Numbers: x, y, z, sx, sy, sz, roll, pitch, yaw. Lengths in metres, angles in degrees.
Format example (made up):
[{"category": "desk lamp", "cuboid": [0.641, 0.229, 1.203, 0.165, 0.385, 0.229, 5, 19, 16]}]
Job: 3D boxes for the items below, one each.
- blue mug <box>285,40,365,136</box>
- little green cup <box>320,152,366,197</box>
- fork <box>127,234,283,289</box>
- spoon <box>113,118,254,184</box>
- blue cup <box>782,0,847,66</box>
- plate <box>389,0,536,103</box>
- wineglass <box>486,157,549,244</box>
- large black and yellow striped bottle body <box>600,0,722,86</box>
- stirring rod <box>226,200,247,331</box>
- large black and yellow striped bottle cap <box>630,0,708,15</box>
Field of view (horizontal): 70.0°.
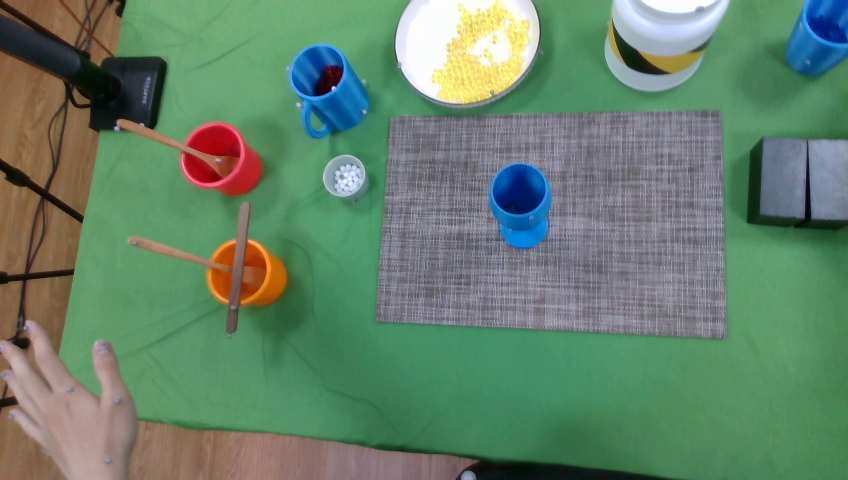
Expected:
[{"category": "blue mug", "cuboid": [-0.143, -0.203, 0.854, 0.082, 0.106, 0.116, 22, 84, 14]}, {"category": "little green cup", "cuboid": [-0.113, -0.091, 0.862, 0.061, 0.039, 0.061, -2, 80, 11]}, {"category": "fork", "cuboid": [-0.290, 0.029, 0.815, 0.209, 0.018, 0.028, 21, 89, -30]}, {"category": "spoon", "cuboid": [-0.335, -0.129, 0.856, 0.195, 0.021, 0.041, 24, 83, -30]}, {"category": "blue cup", "cuboid": [0.492, -0.265, 0.748, 0.092, 0.101, 0.092, -2, 79, 12]}, {"category": "plate", "cuboid": [0.055, -0.290, 0.868, 0.209, 0.038, 0.208, -2, 80, 10]}, {"category": "wineglass", "cuboid": [0.116, -0.043, 0.736, 0.073, 0.173, 0.073, -2, 78, 11]}, {"category": "large black and yellow striped bottle body", "cuboid": [0.291, -0.288, 0.748, 0.130, 0.185, 0.130, -2, 79, 11]}, {"category": "stirring rod", "cuboid": [-0.249, 0.032, 0.803, 0.014, 0.006, 0.175, 0, 80, 11]}, {"category": "large black and yellow striped bottle cap", "cuboid": [0.273, -0.305, 0.667, 0.115, 0.019, 0.114, -2, 78, 9]}]
